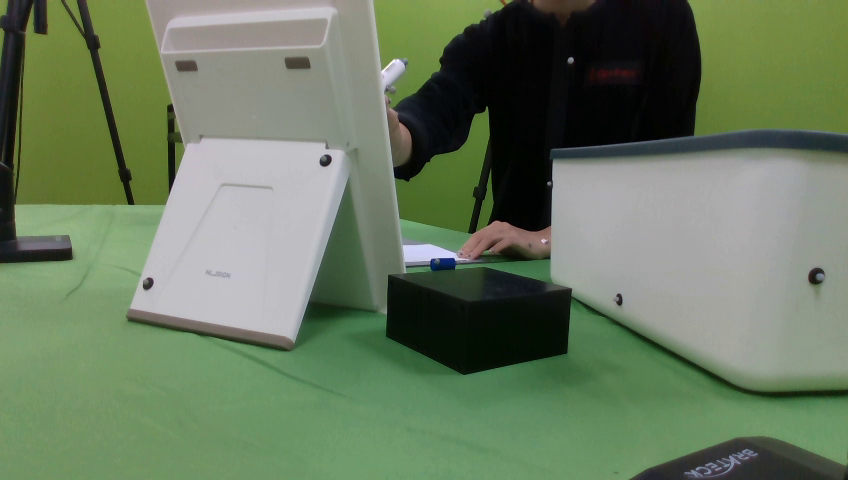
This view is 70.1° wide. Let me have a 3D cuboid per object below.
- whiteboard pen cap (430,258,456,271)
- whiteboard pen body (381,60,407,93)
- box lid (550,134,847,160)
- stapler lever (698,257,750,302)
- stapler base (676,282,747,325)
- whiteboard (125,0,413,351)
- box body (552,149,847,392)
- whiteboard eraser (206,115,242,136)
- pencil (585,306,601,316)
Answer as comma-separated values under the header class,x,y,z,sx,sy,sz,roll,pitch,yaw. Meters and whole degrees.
class,x,y,z,sx,sy,sz,roll,pitch,yaw
whiteboard pen cap,0.024,0.031,0.791,0.033,0.018,0.018,1,8,-13
whiteboard pen body,-0.045,-0.134,0.543,0.017,0.017,0.141,5,35,19
box lid,0.294,-0.071,0.538,0.264,0.015,0.370,2,6,-10
stapler lever,0.291,0.035,0.580,0.026,0.040,0.119,31,20,34
stapler base,0.283,0.057,0.585,0.041,0.024,0.131,31,18,34
whiteboard,-0.151,-0.050,0.471,0.216,0.305,0.144,6,27,24
box body,0.290,0.002,0.549,0.255,0.160,0.363,2,7,-10
whiteboard eraser,-0.438,-0.249,1.320,0.056,0.042,0.112,-3,9,-30
pencil,0.250,0.055,0.656,0.195,0.012,0.012,-12,14,-27
